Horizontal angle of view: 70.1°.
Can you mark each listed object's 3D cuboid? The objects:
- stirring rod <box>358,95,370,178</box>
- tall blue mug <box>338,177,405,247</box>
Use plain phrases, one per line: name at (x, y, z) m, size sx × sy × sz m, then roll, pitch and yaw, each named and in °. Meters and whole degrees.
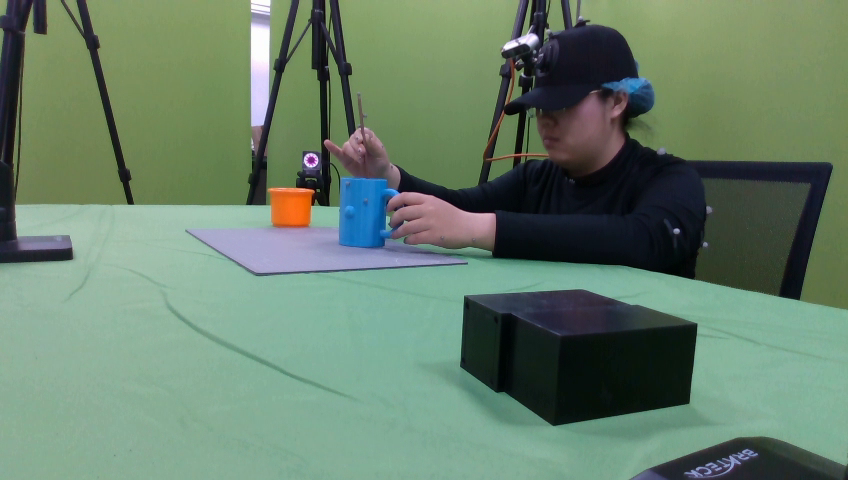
stirring rod at (-0.097, -0.150, 0.990) m, size 0.006 × 0.176 × 0.014 m, roll -6°, pitch 2°, yaw -14°
tall blue mug at (-0.083, -0.046, 0.977) m, size 0.107 × 0.108 × 0.078 m, roll 2°, pitch 6°, yaw -1°
